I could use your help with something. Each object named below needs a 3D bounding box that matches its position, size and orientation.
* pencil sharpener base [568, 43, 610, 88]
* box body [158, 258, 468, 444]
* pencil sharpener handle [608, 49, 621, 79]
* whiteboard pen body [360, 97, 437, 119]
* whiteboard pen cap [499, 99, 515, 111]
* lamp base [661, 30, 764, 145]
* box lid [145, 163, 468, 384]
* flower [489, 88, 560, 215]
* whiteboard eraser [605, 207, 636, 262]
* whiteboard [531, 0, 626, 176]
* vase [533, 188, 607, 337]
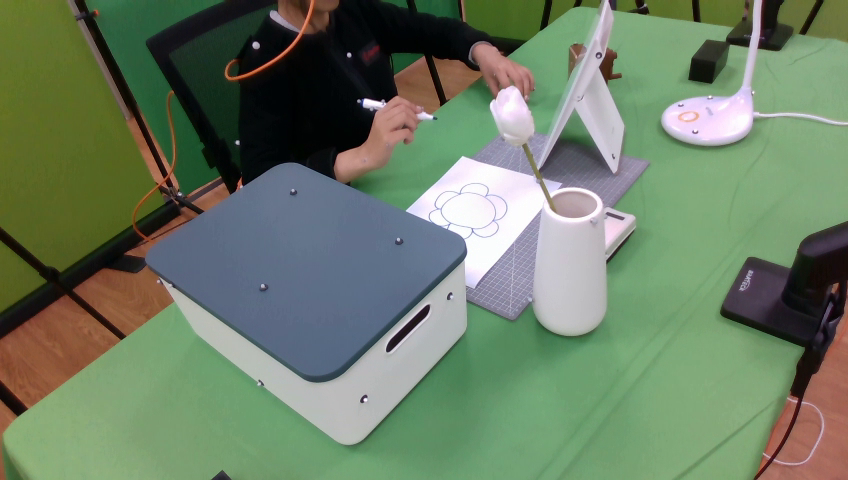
[{"bbox_3d":[0.345,-0.352,1.263,0.077,0.107,0.061,-8,40,1],"label":"pencil sharpener base"},{"bbox_3d":[-0.147,0.072,0.816,0.361,0.161,0.255,24,50,33],"label":"box body"},{"bbox_3d":[0.394,-0.368,1.253,0.030,0.068,0.036,-8,32,1],"label":"pencil sharpener handle"},{"bbox_3d":[-0.045,-0.231,1.065,0.140,0.017,0.017,14,44,6],"label":"whiteboard pen body"},{"bbox_3d":[0.176,-0.287,1.290,0.033,0.018,0.018,-35,47,-26],"label":"whiteboard pen cap"},{"bbox_3d":[0.535,-0.287,1.096,0.179,0.181,0.159,-10,40,-4],"label":"lamp base"},{"bbox_3d":[-0.157,0.014,0.769,0.368,0.015,0.264,25,51,33],"label":"box lid"},{"bbox_3d":[0.158,-0.027,0.720,0.038,0.364,0.044,-14,44,23],"label":"flower"},{"bbox_3d":[0.272,-0.003,0.919,0.055,0.042,0.113,27,51,32],"label":"whiteboard eraser"},{"bbox_3d":[0.320,-0.259,1.050,0.144,0.306,0.217,22,45,6],"label":"whiteboard"},{"bbox_3d":[0.187,0.033,0.771,0.098,0.201,0.097,-6,41,6],"label":"vase"}]
